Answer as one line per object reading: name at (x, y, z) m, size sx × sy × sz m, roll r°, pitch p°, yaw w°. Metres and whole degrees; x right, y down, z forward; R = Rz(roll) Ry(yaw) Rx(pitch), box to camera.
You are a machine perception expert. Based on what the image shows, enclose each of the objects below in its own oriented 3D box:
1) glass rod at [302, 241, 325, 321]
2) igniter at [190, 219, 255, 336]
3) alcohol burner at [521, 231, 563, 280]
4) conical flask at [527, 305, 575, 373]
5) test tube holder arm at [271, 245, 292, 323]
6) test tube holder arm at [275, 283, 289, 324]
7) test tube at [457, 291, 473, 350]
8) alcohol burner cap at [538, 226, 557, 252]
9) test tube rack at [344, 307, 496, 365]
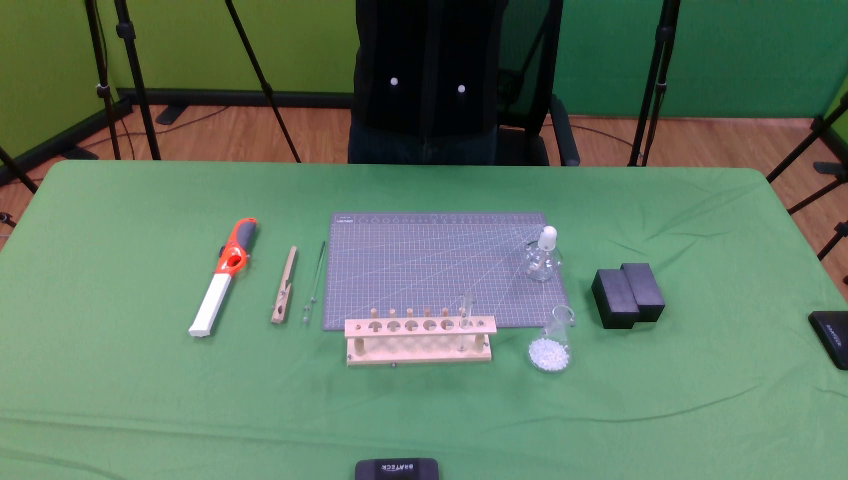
glass rod at (-0.203, 0.071, 1.124) m, size 0.008 × 0.008 × 0.198 m, roll 4°, pitch 43°, yaw 1°
igniter at (-0.365, 0.058, 1.110) m, size 0.057 × 0.025 × 0.275 m, roll -1°, pitch 45°, yaw 8°
alcohol burner at (0.224, 0.020, 1.131) m, size 0.078 × 0.119 × 0.077 m, roll 4°, pitch 46°, yaw -4°
conical flask at (0.215, 0.157, 0.996) m, size 0.075 × 0.122 × 0.075 m, roll 2°, pitch 46°, yaw -2°
test tube holder arm at (-0.259, 0.076, 1.106) m, size 0.013 × 0.015 × 0.177 m, roll 28°, pitch 38°, yaw -28°
test tube holder arm at (-0.254, 0.111, 1.077) m, size 0.010 × 0.015 × 0.087 m, roll 29°, pitch 38°, yaw -27°
test tube at (0.064, 0.132, 0.965) m, size 0.017 × 0.151 × 0.017 m, roll 1°, pitch 48°, yaw -1°
alcohol burner cap at (0.226, -0.004, 1.104) m, size 0.034 × 0.048 × 0.033 m, roll -1°, pitch 50°, yaw 1°
test tube rack at (-0.009, 0.154, 1.007) m, size 0.242 × 0.085 × 0.066 m, roll -1°, pitch 46°, yaw -5°
